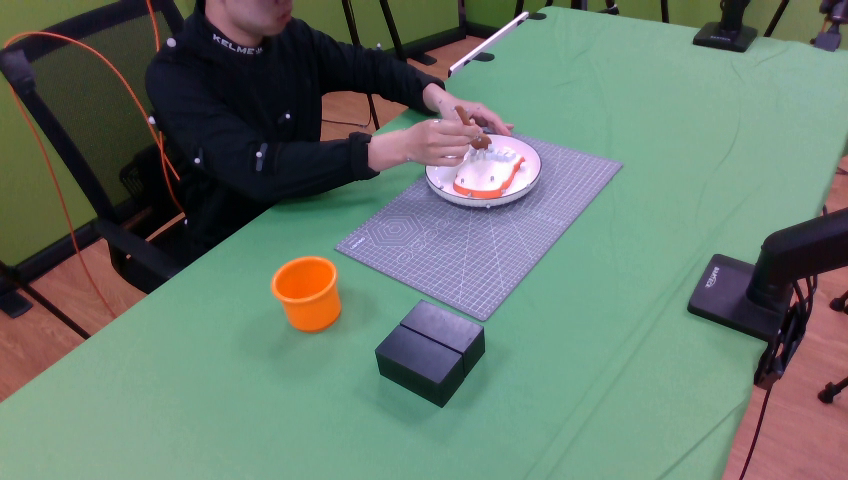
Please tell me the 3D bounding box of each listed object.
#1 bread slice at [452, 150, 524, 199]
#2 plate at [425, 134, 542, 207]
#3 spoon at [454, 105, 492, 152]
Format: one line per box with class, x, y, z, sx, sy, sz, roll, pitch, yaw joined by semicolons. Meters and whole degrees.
bread slice;0.112;-0.119;1.079;0.104;0.019;0.131;11;43;21
plate;0.106;-0.121;1.079;0.209;0.038;0.208;-4;40;4
spoon;0.081;-0.186;1.022;0.041;0.195;0.021;-1;82;17
